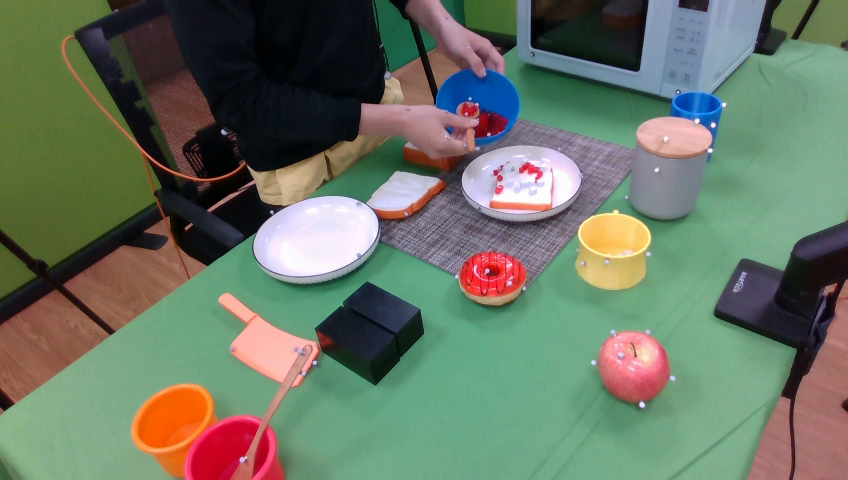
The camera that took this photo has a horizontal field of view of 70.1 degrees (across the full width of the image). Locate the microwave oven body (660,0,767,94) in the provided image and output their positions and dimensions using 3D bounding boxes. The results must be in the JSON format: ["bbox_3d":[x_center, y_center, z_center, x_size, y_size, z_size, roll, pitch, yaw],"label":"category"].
[{"bbox_3d":[0.473,-0.516,1.313,0.438,0.261,0.327,26,51,34],"label":"microwave oven body"}]

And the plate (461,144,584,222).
[{"bbox_3d":[0.167,-0.095,1.040,0.207,0.039,0.206,-4,40,4],"label":"plate"}]

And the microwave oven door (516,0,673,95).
[{"bbox_3d":[0.344,-0.458,1.257,0.353,0.245,0.039,26,51,33],"label":"microwave oven door"}]

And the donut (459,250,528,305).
[{"bbox_3d":[0.100,0.053,0.872,0.099,0.048,0.098,-5,40,4],"label":"donut"}]

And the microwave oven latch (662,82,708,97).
[{"bbox_3d":[0.518,-0.298,1.202,0.078,0.029,0.030,28,53,35],"label":"microwave oven latch"}]

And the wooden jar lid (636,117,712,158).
[{"bbox_3d":[0.377,-0.151,0.917,0.108,0.021,0.108,-2,42,3],"label":"wooden jar lid"}]

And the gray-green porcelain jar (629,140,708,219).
[{"bbox_3d":[0.383,-0.105,0.958,0.106,0.127,0.105,-4,41,4],"label":"gray-green porcelain jar"}]

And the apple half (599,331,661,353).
[{"bbox_3d":[0.249,0.134,0.738,0.081,0.081,0.032,-1,46,7],"label":"apple half"}]

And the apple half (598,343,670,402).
[{"bbox_3d":[0.247,0.161,0.710,0.081,0.075,0.053,1,47,5],"label":"apple half"}]

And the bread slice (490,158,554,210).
[{"bbox_3d":[0.174,-0.099,1.048,0.104,0.019,0.131,4,44,12],"label":"bread slice"}]

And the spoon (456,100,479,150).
[{"bbox_3d":[0.074,-0.194,1.008,0.041,0.022,0.193,5,30,0],"label":"spoon"}]

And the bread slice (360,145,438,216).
[{"bbox_3d":[-0.053,-0.103,1.046,0.106,0.018,0.134,19,67,22],"label":"bread slice"}]

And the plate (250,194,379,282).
[{"bbox_3d":[-0.174,0.000,0.984,0.209,0.038,0.208,-3,40,3],"label":"plate"}]

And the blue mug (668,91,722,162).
[{"bbox_3d":[0.474,-0.207,1.079,0.082,0.106,0.116,4,42,13],"label":"blue mug"}]

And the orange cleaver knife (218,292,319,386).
[{"bbox_3d":[-0.235,0.136,0.850,0.209,0.012,0.077,25,56,30],"label":"orange cleaver knife"}]

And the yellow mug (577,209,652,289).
[{"bbox_3d":[0.279,0.004,0.893,0.099,0.064,0.130,5,42,15],"label":"yellow mug"}]

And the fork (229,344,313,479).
[{"bbox_3d":[-0.173,0.205,0.662,0.028,0.019,0.207,29,94,36],"label":"fork"}]

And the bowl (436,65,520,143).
[{"bbox_3d":[0.095,-0.230,1.093,0.151,0.077,0.151,0,68,0],"label":"bowl"}]
